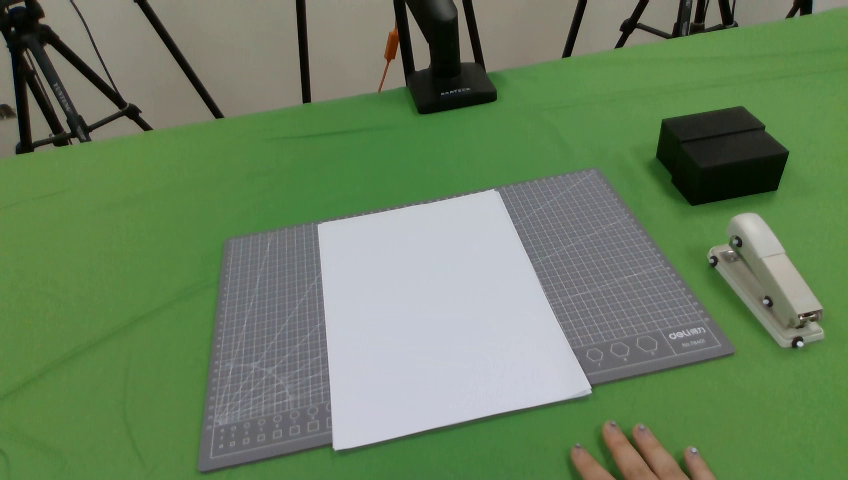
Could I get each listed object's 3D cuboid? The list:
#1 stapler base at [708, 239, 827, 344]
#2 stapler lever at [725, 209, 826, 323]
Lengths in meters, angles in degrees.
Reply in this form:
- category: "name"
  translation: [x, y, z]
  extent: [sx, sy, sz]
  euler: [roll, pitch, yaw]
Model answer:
- category: "stapler base"
  translation: [0.310, 0.037, 0.553]
  extent: [0.041, 0.025, 0.129]
  euler: [-13, 42, -3]
- category: "stapler lever"
  translation: [0.308, 0.019, 0.535]
  extent: [0.027, 0.040, 0.116]
  euler: [-13, 42, -3]
